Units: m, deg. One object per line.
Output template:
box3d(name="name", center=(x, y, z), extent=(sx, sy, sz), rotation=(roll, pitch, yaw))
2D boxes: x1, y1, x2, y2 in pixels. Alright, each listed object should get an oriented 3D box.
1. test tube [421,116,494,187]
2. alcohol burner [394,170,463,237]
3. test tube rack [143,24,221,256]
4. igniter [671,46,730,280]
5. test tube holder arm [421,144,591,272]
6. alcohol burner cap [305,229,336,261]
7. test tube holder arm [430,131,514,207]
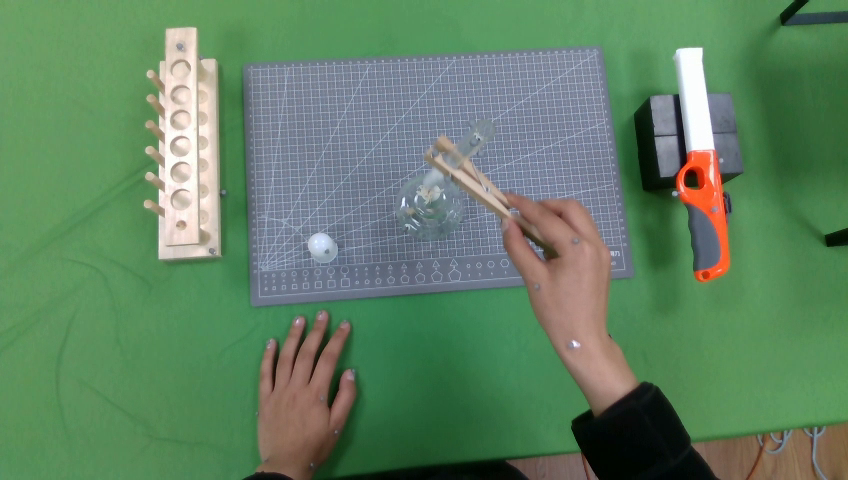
box3d(name="test tube", center=(0.023, -0.069, 0.500), extent=(0.017, 0.150, 0.017), rotation=(3, 79, -15))
box3d(name="alcohol burner", center=(0.005, -0.044, 0.667), extent=(0.078, 0.119, 0.077), rotation=(0, 81, -2))
box3d(name="test tube rack", center=(-0.275, -0.109, 0.680), extent=(0.067, 0.085, 0.241), rotation=(-4, 80, -3))
box3d(name="igniter", center=(0.313, -0.091, 0.693), extent=(0.057, 0.025, 0.275), rotation=(-2, 79, 3))
box3d(name="test tube holder arm", center=(0.072, -0.025, 0.518), extent=(0.179, 0.015, 0.013), rotation=(36, 72, -11))
box3d(name="alcohol burner cap", center=(-0.118, 0.003, 0.688), extent=(0.034, 0.048, 0.033), rotation=(1, 78, -2))
box3d(name="test tube holder arm", center=(0.041, -0.057, 0.512), extent=(0.088, 0.015, 0.010), rotation=(44, 70, -8))
